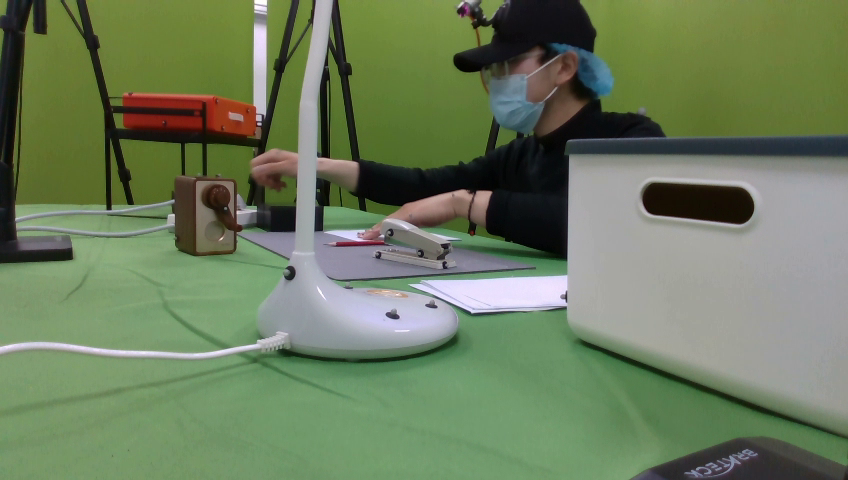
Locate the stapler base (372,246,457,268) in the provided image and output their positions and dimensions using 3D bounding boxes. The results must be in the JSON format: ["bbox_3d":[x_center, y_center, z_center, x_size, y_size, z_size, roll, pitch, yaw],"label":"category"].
[{"bbox_3d":[-0.016,0.017,0.831,0.130,0.024,0.041,10,12,39],"label":"stapler base"}]

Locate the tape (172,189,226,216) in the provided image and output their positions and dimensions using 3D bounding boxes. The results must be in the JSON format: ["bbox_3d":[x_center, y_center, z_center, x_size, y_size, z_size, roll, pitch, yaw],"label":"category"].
[{"bbox_3d":[-0.515,-0.087,1.388,0.117,0.052,0.117,3,8,0],"label":"tape"}]

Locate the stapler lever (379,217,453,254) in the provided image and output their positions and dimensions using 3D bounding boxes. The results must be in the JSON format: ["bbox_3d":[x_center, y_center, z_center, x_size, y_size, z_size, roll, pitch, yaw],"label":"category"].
[{"bbox_3d":[-0.013,-0.007,0.828,0.117,0.040,0.027,9,11,39],"label":"stapler lever"}]

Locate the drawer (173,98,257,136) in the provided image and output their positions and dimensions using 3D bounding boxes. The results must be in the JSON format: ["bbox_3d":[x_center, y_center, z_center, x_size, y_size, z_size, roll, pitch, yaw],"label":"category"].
[{"bbox_3d":[-0.518,-0.279,1.376,0.211,0.073,0.195,3,8,9],"label":"drawer"}]

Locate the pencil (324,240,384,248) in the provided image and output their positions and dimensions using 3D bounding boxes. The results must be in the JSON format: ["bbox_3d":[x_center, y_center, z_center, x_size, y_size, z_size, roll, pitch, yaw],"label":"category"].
[{"bbox_3d":[-0.067,0.004,0.980,0.195,0.012,0.012,-4,10,-24],"label":"pencil"}]

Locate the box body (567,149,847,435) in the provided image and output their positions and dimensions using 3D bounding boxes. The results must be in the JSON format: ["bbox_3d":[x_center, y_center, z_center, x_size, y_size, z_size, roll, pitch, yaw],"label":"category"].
[{"bbox_3d":[0.318,0.009,0.471,0.366,0.160,0.253,-2,8,-31],"label":"box body"}]

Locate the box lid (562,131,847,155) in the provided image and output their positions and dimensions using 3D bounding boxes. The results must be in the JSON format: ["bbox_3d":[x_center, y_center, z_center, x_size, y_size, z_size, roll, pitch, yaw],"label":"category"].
[{"bbox_3d":[0.322,-0.064,0.463,0.373,0.015,0.262,-2,9,-31],"label":"box lid"}]

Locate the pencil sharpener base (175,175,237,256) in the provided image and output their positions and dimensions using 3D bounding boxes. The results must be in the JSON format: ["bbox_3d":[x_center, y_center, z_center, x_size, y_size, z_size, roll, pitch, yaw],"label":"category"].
[{"bbox_3d":[-0.304,-0.036,0.847,0.062,0.107,0.076,-4,10,-42],"label":"pencil sharpener base"}]

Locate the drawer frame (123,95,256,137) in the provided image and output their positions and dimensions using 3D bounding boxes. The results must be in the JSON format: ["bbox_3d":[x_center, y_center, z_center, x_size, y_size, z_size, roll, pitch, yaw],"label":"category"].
[{"bbox_3d":[-0.524,-0.281,1.376,0.213,0.082,0.202,3,8,8],"label":"drawer frame"}]

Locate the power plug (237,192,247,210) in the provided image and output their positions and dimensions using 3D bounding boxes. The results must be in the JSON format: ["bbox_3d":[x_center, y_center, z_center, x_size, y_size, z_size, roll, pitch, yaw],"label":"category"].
[{"bbox_3d":[-0.386,-0.071,1.204,0.072,0.052,0.035,7,8,26],"label":"power plug"}]

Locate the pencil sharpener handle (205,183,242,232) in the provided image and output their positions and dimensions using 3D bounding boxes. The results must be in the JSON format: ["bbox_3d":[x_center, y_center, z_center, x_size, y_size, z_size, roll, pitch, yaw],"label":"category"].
[{"bbox_3d":[-0.265,-0.043,0.812,0.036,0.068,0.030,-31,27,-35],"label":"pencil sharpener handle"}]

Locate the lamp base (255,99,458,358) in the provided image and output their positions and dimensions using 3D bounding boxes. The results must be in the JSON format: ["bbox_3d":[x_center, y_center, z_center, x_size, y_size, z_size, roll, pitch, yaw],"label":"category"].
[{"bbox_3d":[-0.056,-0.013,0.462,0.160,0.180,0.180,6,11,27],"label":"lamp base"}]

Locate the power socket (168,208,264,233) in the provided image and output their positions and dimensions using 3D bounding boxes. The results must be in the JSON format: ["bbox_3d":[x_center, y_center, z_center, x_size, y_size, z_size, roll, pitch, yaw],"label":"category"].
[{"bbox_3d":[-0.381,-0.038,1.129,0.072,0.032,0.227,4,8,17],"label":"power socket"}]
